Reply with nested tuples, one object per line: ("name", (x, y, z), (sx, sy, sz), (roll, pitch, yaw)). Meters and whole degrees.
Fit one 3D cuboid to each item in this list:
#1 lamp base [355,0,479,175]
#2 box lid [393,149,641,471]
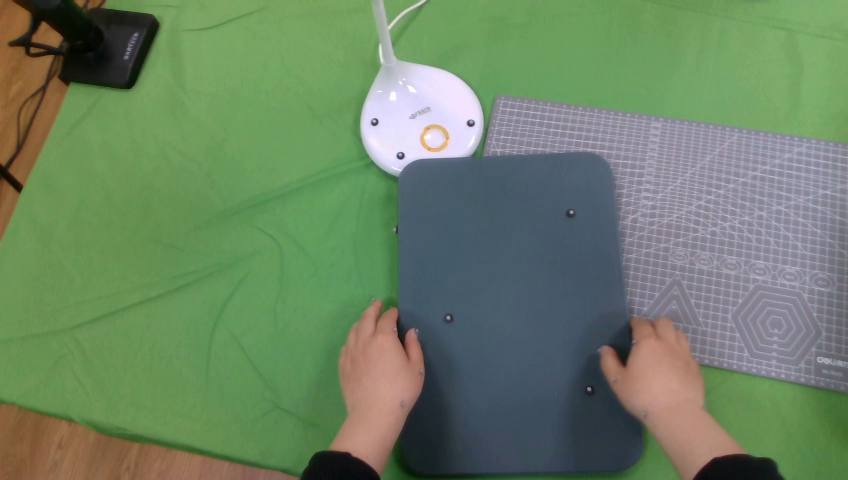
("lamp base", (-0.025, -0.187, 0.712), (0.160, 0.181, 0.178), (-38, 69, -7))
("box lid", (0.098, 0.067, 0.697), (0.263, 0.015, 0.369), (-3, 74, 2))
